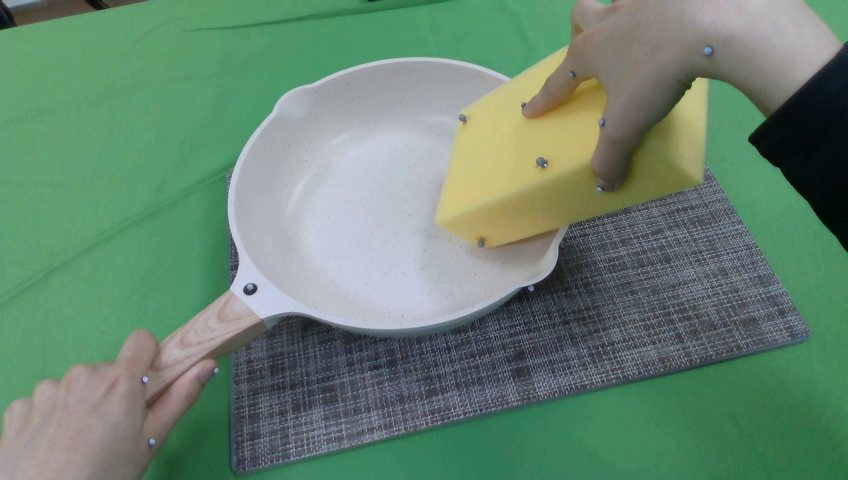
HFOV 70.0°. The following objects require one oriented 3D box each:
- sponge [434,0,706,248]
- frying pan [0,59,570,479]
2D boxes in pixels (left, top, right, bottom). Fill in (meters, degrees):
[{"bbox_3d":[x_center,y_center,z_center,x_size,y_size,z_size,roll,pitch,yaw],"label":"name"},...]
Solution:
[{"bbox_3d":[0.102,-0.076,0.464,0.061,0.206,0.117,26,63,-29],"label":"sponge"},{"bbox_3d":[-0.090,0.016,0.481,0.304,0.103,0.487,37,58,27],"label":"frying pan"}]
